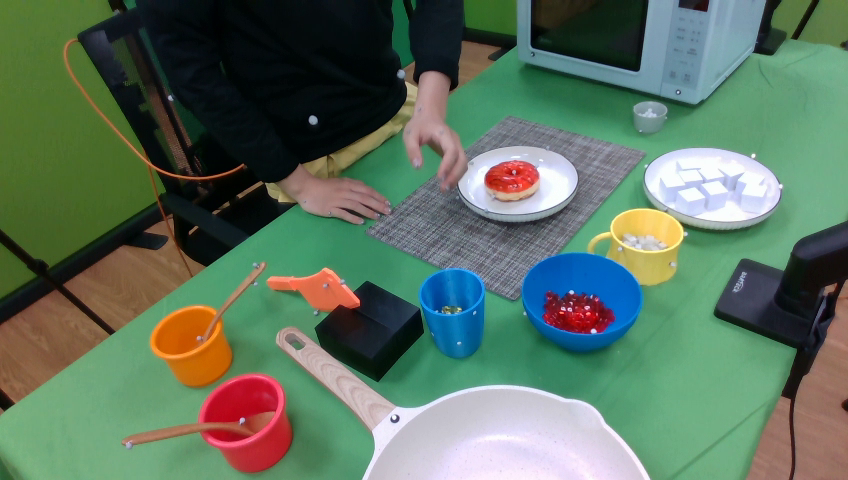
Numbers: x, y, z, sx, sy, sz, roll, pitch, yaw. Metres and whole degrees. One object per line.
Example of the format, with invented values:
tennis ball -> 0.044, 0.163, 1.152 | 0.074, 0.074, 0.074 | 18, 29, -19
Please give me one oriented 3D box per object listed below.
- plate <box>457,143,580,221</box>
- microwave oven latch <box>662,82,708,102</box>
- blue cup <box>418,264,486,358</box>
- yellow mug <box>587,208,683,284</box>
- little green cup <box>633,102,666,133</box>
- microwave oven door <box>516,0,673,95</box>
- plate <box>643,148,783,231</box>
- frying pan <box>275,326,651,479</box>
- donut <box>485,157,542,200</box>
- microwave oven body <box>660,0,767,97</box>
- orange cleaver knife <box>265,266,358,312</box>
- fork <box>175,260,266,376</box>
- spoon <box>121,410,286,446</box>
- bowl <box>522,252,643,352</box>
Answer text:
plate -> 0.162, -0.097, 1.042 | 0.209, 0.038, 0.208 | -4, 40, 4
microwave oven latch -> 0.518, -0.299, 1.203 | 0.078, 0.029, 0.030 | 29, 53, 36
blue cup -> 0.042, 0.100, 0.787 | 0.092, 0.101, 0.092 | -6, 41, 5
yellow mug -> 0.305, 0.009, 0.884 | 0.131, 0.064, 0.099 | -4, 40, 5
little green cup -> 0.434, -0.237, 1.171 | 0.061, 0.039, 0.061 | -5, 40, 5
microwave oven door -> 0.344, -0.458, 1.256 | 0.353, 0.245, 0.039 | 26, 52, 33
plate -> 0.464, -0.080, 0.986 | 0.207, 0.039, 0.206 | -4, 40, 4
frying pan -> 0.004, 0.229, 0.641 | 0.484, 0.103, 0.308 | 34, 54, 28
donut -> 0.153, -0.108, 1.039 | 0.099, 0.048, 0.098 | -6, 37, 5
microwave oven body -> 0.474, -0.517, 1.313 | 0.438, 0.261, 0.327 | 26, 51, 34
orange cleaver knife -> -0.164, 0.073, 0.864 | 0.210, 0.077, 0.012 | -6, 30, 50
fork -> -0.268, 0.102, 0.792 | 0.207, 0.019, 0.028 | -51, 41, 16
spoon -> -0.236, 0.208, 0.670 | 0.041, 0.021, 0.195 | 34, 12, 38
bowl -> 0.204, 0.093, 0.792 | 0.151, 0.077, 0.150 | -4, 40, 4
